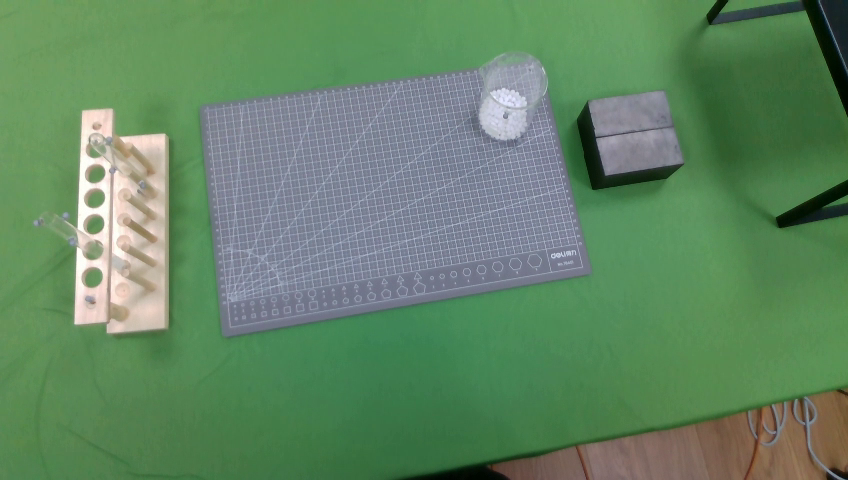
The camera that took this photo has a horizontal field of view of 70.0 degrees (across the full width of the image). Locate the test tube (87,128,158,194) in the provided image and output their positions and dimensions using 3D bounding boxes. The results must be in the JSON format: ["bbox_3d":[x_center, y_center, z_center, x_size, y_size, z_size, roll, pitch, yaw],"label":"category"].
[{"bbox_3d":[-0.328,-0.083,0.664,0.017,0.151,0.017,1,73,-2],"label":"test tube"}]

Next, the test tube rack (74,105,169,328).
[{"bbox_3d":[-0.342,-0.026,0.695,0.067,0.085,0.241,-5,76,-4],"label":"test tube rack"}]

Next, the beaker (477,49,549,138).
[{"bbox_3d":[0.101,-0.176,0.744,0.084,0.100,0.073,21,76,4],"label":"beaker"}]

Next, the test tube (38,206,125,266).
[{"bbox_3d":[-0.355,0.000,0.638,0.017,0.151,0.017,0,70,0],"label":"test tube"}]
